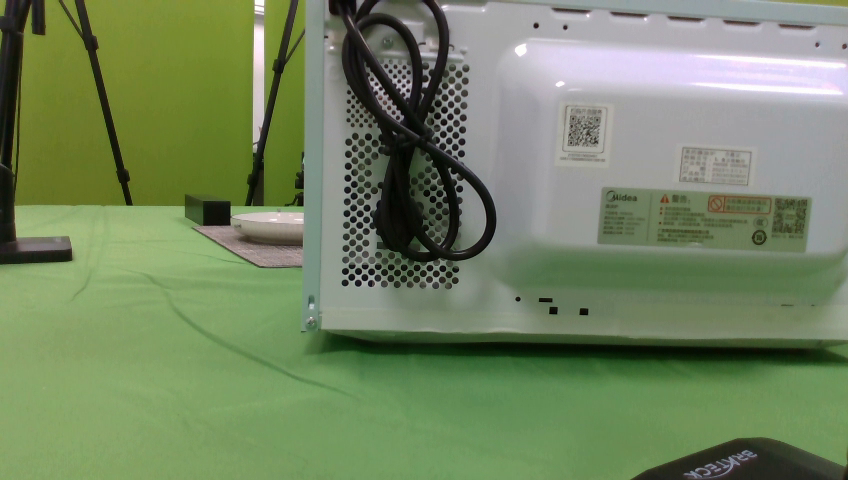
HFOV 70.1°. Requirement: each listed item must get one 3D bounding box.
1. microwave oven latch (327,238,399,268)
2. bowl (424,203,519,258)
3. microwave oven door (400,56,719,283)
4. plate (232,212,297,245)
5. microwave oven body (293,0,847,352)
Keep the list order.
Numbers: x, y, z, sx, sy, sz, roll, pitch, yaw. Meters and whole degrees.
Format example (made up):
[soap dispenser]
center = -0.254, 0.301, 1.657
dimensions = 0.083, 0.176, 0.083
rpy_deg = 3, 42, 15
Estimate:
[microwave oven latch]
center = -0.069, 0.015, 0.694
dimensions = 0.079, 0.029, 0.030
rpy_deg = 3, 7, -2
[bowl]
center = 0.073, -0.015, 0.962
dimensions = 0.151, 0.077, 0.151
rpy_deg = 3, 8, 0
[microwave oven door]
center = 0.155, -0.077, 0.698
dimensions = 0.356, 0.243, 0.039
rpy_deg = 2, 8, -5
[plate]
center = -0.214, -0.019, 1.018
dimensions = 0.208, 0.039, 0.207
rpy_deg = 3, 7, 0
[microwave oven body]
center = 0.122, -0.055, 0.550
dimensions = 0.442, 0.260, 0.325
rpy_deg = 3, 7, -5
